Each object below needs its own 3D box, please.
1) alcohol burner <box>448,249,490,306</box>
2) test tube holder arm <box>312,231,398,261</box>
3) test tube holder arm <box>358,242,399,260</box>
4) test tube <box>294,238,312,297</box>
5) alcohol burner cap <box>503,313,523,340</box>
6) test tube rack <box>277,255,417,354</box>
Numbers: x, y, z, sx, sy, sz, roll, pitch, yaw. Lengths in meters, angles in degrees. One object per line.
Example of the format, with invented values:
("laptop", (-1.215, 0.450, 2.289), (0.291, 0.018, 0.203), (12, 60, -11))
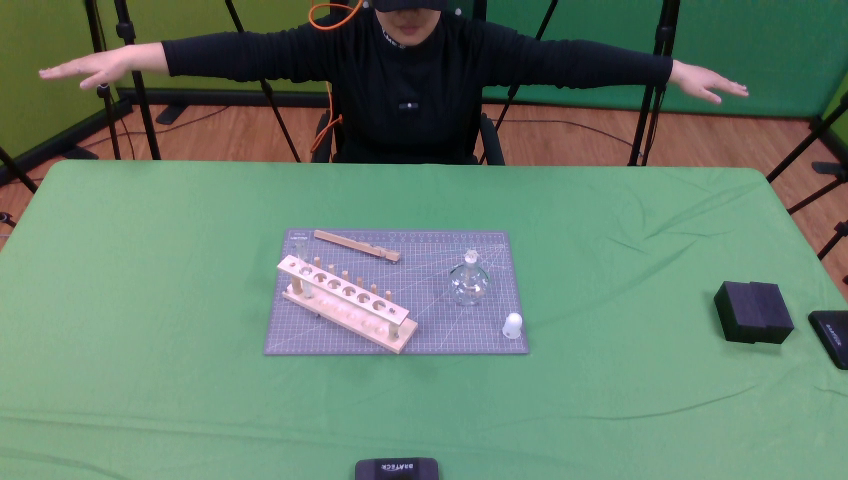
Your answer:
("alcohol burner", (0.081, 0.062, 1.078), (0.078, 0.120, 0.077), (1, 45, -1))
("test tube holder arm", (-0.135, 0.011, 1.175), (0.178, 0.015, 0.013), (15, 13, 11))
("test tube holder arm", (-0.090, 0.021, 1.172), (0.087, 0.015, 0.010), (15, 13, 12))
("test tube", (-0.202, 0.050, 1.018), (0.017, 0.151, 0.017), (2, 50, -2))
("alcohol burner cap", (0.155, 0.147, 1.051), (0.034, 0.048, 0.033), (1, 45, -1))
("test tube rack", (-0.132, 0.099, 1.045), (0.241, 0.085, 0.066), (23, 49, 17))
